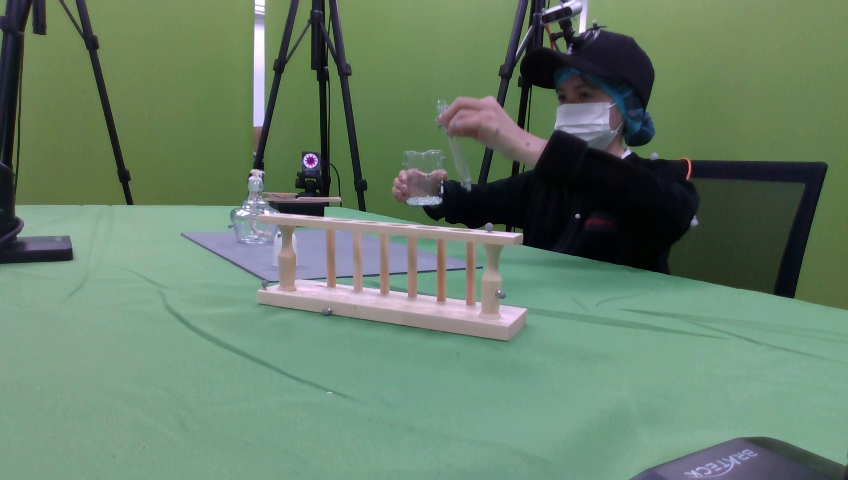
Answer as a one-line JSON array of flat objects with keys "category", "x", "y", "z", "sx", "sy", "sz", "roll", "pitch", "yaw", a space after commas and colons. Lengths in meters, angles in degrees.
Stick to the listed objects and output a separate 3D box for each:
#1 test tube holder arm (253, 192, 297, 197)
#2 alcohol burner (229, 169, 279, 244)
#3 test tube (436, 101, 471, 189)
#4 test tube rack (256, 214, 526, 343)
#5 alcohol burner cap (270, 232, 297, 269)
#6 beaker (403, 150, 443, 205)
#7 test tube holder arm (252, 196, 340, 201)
[{"category": "test tube holder arm", "x": -0.301, "y": -0.092, "z": 1.223, "sx": 0.088, "sy": 0.010, "sz": 0.015, "roll": 0, "pitch": 7, "yaw": -25}, {"category": "alcohol burner", "x": -0.268, "y": -0.053, "z": 0.958, "sx": 0.078, "sy": 0.119, "sz": 0.078, "roll": 2, "pitch": 6, "yaw": 0}, {"category": "test tube", "x": 0.041, "y": -0.136, "z": 0.857, "sx": 0.017, "sy": 0.149, "sz": 0.017, "roll": -12, "pitch": -26, "yaw": -5}, {"category": "test tube rack", "x": -0.032, "y": 0.027, "z": 0.547, "sx": 0.241, "sy": 0.085, "sz": 0.067, "roll": 5, "pitch": 7, "yaw": 22}, {"category": "alcohol burner cap", "x": -0.175, "y": 0.012, "z": 0.760, "sx": 0.034, "sy": 0.048, "sz": 0.034, "roll": 2, "pitch": 8, "yaw": 0}, {"category": "beaker", "x": -0.001, "y": -0.114, "z": 1.111, "sx": 0.074, "sy": 0.100, "sz": 0.084, "roll": -2, "pitch": 6, "yaw": 1}, {"category": "test tube holder arm", "x": -0.260, "y": -0.087, "z": 1.242, "sx": 0.179, "sy": 0.013, "sz": 0.015, "roll": -1, "pitch": 7, "yaw": -25}]
